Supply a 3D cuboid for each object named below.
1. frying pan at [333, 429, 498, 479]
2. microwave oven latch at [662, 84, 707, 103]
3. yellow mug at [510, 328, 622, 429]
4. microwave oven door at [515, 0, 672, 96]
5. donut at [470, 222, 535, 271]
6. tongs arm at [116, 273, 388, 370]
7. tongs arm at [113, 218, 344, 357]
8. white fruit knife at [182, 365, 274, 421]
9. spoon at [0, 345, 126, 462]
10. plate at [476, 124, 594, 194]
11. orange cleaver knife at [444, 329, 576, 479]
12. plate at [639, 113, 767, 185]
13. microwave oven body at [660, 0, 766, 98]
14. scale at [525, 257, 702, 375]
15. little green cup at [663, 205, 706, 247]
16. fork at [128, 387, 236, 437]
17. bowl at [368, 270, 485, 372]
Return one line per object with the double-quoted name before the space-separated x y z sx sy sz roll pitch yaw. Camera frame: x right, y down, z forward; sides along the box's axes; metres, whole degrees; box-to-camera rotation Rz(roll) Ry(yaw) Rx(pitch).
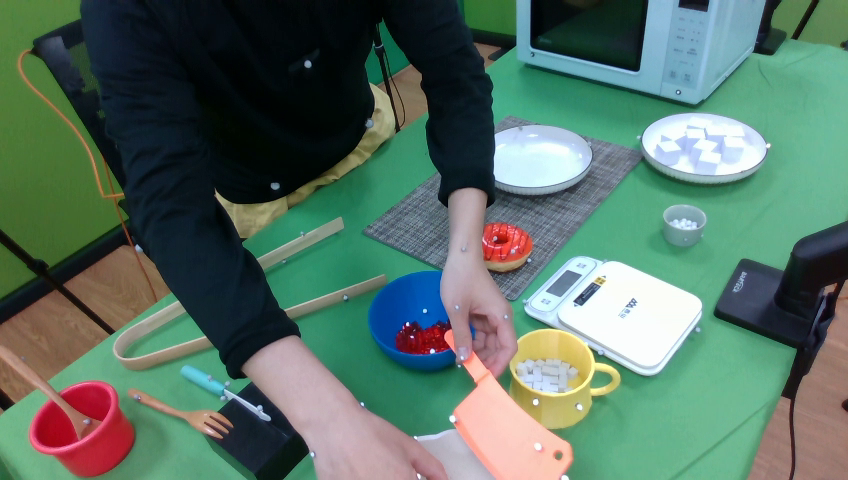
"frying pan" -0.089 0.306 0.564 0.487 0.103 0.306 10 41 8
"microwave oven latch" 0.517 -0.296 1.204 0.078 0.029 0.030 27 52 35
"yellow mug" 0.168 0.164 0.721 0.130 0.064 0.099 0 40 8
"microwave oven door" 0.343 -0.454 1.259 0.353 0.245 0.039 26 51 33
"donut" 0.119 0.009 0.923 0.099 0.048 0.098 -4 38 3
"tongs arm" -0.236 0.114 0.869 0.389 0.028 0.028 -18 49 -13
"tongs arm" -0.280 0.067 0.926 0.386 0.026 0.050 -28 49 -23
"white fruit knife" -0.245 0.188 0.747 0.205 0.027 0.016 9 41 41
"spoon" -0.434 0.192 0.720 0.194 0.021 0.042 47 53 -7
"plate" 0.199 -0.142 1.093 0.209 0.038 0.208 -4 40 4
"orange cleaver knife" 0.067 0.172 0.611 0.077 0.012 0.209 -38 47 -6
"plate" 0.489 -0.157 1.074 0.207 0.039 0.206 -4 40 4
"microwave oven body" 0.472 -0.513 1.317 0.438 0.261 0.327 26 51 34
"scale" 0.254 0.091 0.821 0.199 0.032 0.149 28 51 35
"little green cup" 0.396 -0.020 0.926 0.061 0.039 0.061 -4 40 4
"fork" -0.305 0.207 0.744 0.206 0.019 0.028 3 41 36
"bowl" 0.007 0.119 0.791 0.151 0.077 0.150 -5 40 4
